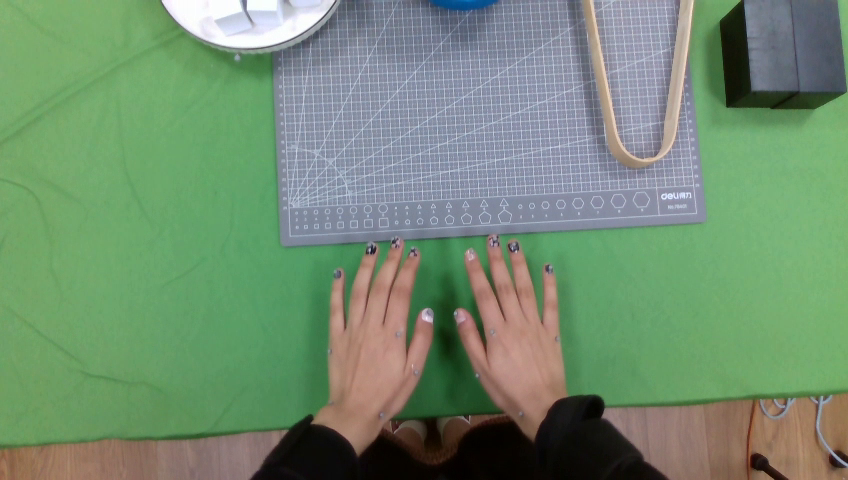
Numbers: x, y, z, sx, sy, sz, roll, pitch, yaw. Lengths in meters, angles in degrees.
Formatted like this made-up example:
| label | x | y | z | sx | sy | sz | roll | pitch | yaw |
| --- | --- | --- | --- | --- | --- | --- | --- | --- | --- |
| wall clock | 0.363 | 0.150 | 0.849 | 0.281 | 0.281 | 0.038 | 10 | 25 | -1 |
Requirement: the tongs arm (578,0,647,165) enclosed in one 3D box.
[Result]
| label | x | y | z | sx | sy | sz | roll | pitch | yaw |
| --- | --- | --- | --- | --- | --- | --- | --- | --- | --- |
| tongs arm | 0.188 | -0.269 | 0.653 | 0.051 | 0.026 | 0.383 | -5 | 84 | -6 |

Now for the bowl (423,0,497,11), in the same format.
| label | x | y | z | sx | sy | sz | roll | pitch | yaw |
| --- | --- | --- | --- | --- | --- | --- | --- | --- | --- |
| bowl | 0.035 | -0.298 | 0.628 | 0.151 | 0.077 | 0.151 | 0 | 83 | -2 |

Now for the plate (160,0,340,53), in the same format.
| label | x | y | z | sx | sy | sz | roll | pitch | yaw |
| --- | --- | --- | --- | --- | --- | --- | --- | --- | --- |
| plate | -0.180 | -0.293 | 0.641 | 0.208 | 0.039 | 0.207 | 0 | 83 | -1 |

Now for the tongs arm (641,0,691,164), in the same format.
| label | x | y | z | sx | sy | sz | roll | pitch | yaw |
| --- | --- | --- | --- | --- | --- | --- | --- | --- | --- |
| tongs arm | 0.275 | -0.269 | 0.659 | 0.028 | 0.028 | 0.386 | 10 | 83 | -7 |
